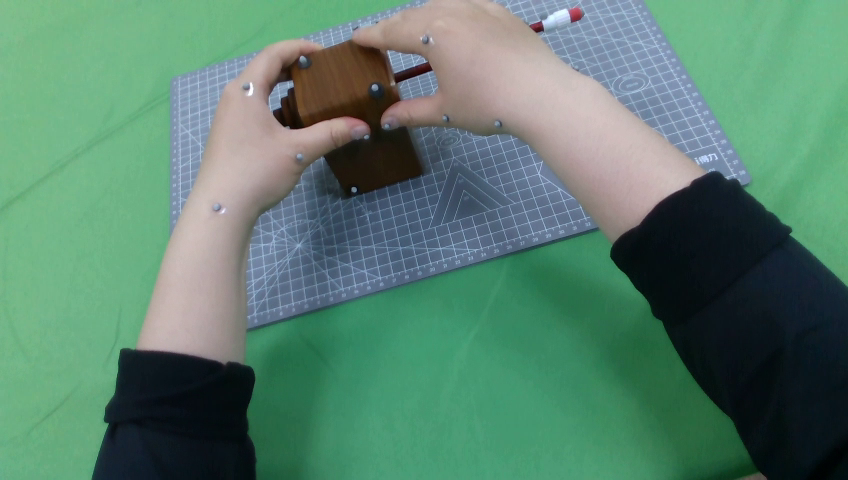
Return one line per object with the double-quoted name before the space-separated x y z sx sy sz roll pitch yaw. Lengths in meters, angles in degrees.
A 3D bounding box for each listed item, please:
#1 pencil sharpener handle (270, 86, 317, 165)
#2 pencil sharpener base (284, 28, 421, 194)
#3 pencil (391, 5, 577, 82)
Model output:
"pencil sharpener handle" -0.104 -0.082 0.457 0.030 0.068 0.035 -20 58 3
"pencil sharpener base" -0.053 -0.093 0.466 0.077 0.108 0.061 -20 59 2
"pencil" 0.018 -0.132 0.437 0.194 0.012 0.012 -19 60 4
